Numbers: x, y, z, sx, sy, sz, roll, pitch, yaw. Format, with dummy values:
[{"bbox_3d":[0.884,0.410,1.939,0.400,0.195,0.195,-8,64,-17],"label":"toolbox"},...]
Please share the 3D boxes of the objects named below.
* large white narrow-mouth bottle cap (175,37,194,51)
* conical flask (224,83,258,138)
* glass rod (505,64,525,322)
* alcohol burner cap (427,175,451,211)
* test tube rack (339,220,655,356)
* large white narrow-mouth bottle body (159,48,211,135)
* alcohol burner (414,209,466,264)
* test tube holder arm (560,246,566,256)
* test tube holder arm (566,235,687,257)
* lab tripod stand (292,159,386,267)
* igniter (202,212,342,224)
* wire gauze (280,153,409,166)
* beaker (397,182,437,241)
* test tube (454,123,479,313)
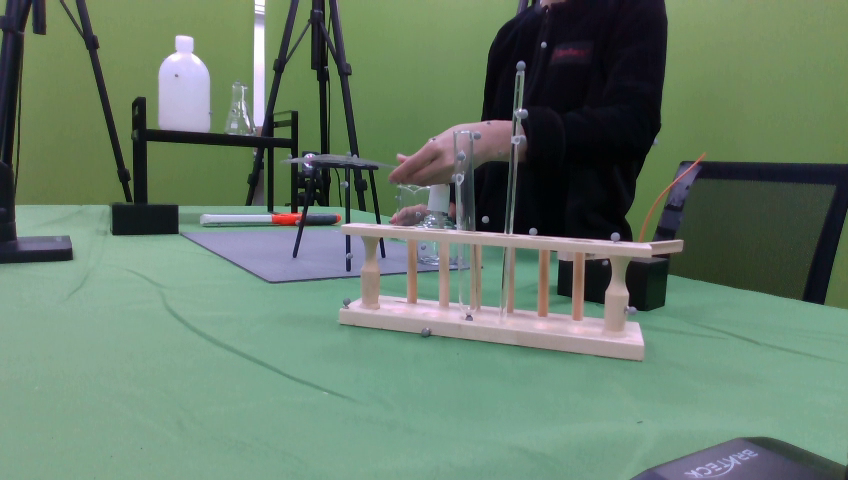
[{"bbox_3d":[-0.501,-0.409,1.264,0.038,0.024,0.037,2,7,0],"label":"large white narrow-mouth bottle cap"},{"bbox_3d":[-0.422,-0.299,1.395,0.075,0.122,0.075,2,7,0],"label":"conical flask"},{"bbox_3d":[0.069,-0.029,0.458,0.008,0.199,0.008,0,15,0],"label":"glass rod"},{"bbox_3d":[0.023,-0.064,0.823,0.034,0.048,0.034,8,4,0],"label":"alcohol burner cap"},{"bbox_3d":[0.056,0.032,0.495,0.242,0.085,0.067,4,7,15],"label":"test tube rack"},{"bbox_3d":[-0.503,-0.322,1.275,0.102,0.194,0.102,2,7,0],"label":"large white narrow-mouth bottle body"},{"bbox_3d":[0.020,-0.028,0.826,0.078,0.119,0.078,0,6,0],"label":"alcohol burner"},{"bbox_3d":[0.173,0.007,0.612,0.088,0.015,0.010,-3,8,-30],"label":"test tube holder arm"},{"bbox_3d":[0.215,0.006,0.630,0.179,0.015,0.013,-3,9,-31],"label":"test tube holder arm"},{"bbox_3d":[-0.105,-0.039,0.797,0.148,0.131,0.148,2,5,0],"label":"lab tripod stand"},{"bbox_3d":[-0.298,-0.044,1.216,0.278,0.025,0.057,-2,-2,-32],"label":"igniter"},{"bbox_3d":[-0.104,-0.105,0.784,0.126,0.011,0.121,-2,7,-38],"label":"wire gauze"},{"bbox_3d":[-0.012,-0.050,1.071,0.074,0.100,0.084,3,8,5],"label":"beaker"},{"bbox_3d":[0.034,-0.016,0.477,0.017,0.150,0.017,-2,9,1],"label":"test tube"}]
